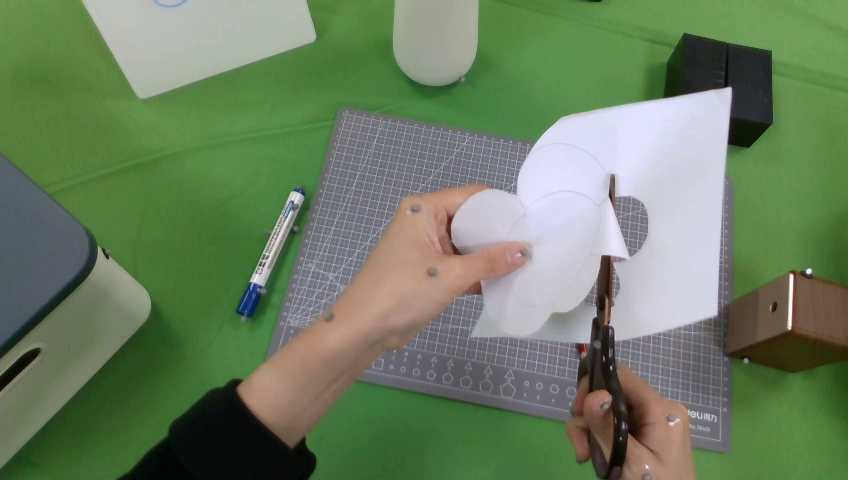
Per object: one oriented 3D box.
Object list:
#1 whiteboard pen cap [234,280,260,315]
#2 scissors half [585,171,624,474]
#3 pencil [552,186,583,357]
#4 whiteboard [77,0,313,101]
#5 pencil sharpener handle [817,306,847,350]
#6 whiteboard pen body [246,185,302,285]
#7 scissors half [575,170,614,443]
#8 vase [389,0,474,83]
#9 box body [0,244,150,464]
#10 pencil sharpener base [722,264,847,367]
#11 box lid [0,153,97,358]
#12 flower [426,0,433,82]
[{"bbox_3d":[-0.174,0.056,0.600,0.018,0.018,0.033,16,64,5],"label":"whiteboard pen cap"},{"bbox_3d":[0.105,0.048,0.347,0.013,0.040,0.175,0,90,-3],"label":"scissors half"},{"bbox_3d":[0.149,0.034,0.626,0.012,0.012,0.192,-3,71,-3],"label":"pencil"},{"bbox_3d":[-0.275,-0.342,0.634,0.217,0.308,0.142,-22,51,-10],"label":"whiteboard"},{"bbox_3d":[0.392,0.084,0.553,0.030,0.068,0.035,15,63,1],"label":"pencil sharpener handle"},{"bbox_3d":[-0.158,0.005,0.623,0.017,0.017,0.140,17,67,5],"label":"whiteboard pen body"},{"bbox_3d":[0.105,0.044,0.368,0.013,0.040,0.176,1,110,2],"label":"scissors half"},{"bbox_3d":[0.008,-0.257,0.634,0.098,0.201,0.097,0,67,0],"label":"vase"},{"bbox_3d":[-0.464,0.023,0.528,0.362,0.161,0.253,36,72,11],"label":"box body"},{"bbox_3d":[0.342,0.074,0.565,0.077,0.107,0.061,15,68,1],"label":"pencil sharpener base"},{"bbox_3d":[-0.464,-0.006,0.460,0.370,0.015,0.262,36,71,11],"label":"box lid"},{"bbox_3d":[0.006,-0.301,0.563,0.044,0.365,0.038,4,51,3],"label":"flower"}]
